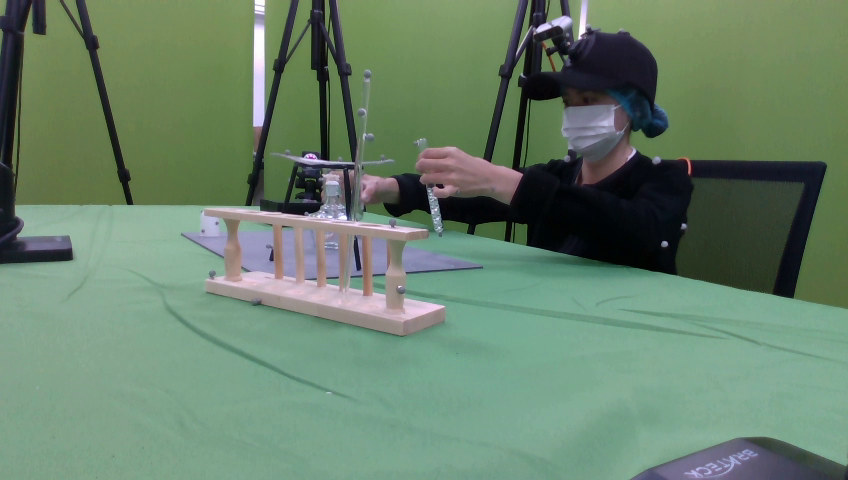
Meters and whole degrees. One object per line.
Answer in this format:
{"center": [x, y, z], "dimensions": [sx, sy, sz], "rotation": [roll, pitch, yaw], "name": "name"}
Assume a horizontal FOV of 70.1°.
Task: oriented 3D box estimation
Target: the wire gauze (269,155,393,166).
{"center": [-0.121, -0.102, 0.785], "dimensions": [0.122, 0.011, 0.124], "rotation": [-3, 10, -39], "name": "wire gauze"}

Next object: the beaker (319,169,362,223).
{"center": [-0.147, -0.082, 1.085], "dimensions": [0.074, 0.100, 0.083], "rotation": [-4, 10, -19], "name": "beaker"}

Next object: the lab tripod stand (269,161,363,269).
{"center": [-0.125, -0.036, 0.794], "dimensions": [0.148, 0.131, 0.148], "rotation": [5, 7, 0], "name": "lab tripod stand"}

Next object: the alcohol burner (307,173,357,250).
{"center": [-0.144, -0.045, 0.940], "dimensions": [0.078, 0.119, 0.078], "rotation": [1, 8, 0], "name": "alcohol burner"}

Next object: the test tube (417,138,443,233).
{"center": [0.010, -0.085, 0.946], "dimensions": [0.017, 0.150, 0.017], "rotation": [-11, 1, 0], "name": "test tube"}

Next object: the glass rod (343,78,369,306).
{"center": [-0.059, -0.038, 0.522], "dimensions": [0.008, 0.199, 0.008], "rotation": [6, 5, 0], "name": "glass rod"}

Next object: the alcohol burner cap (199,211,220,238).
{"center": [-0.356, -0.027, 1.002], "dimensions": [0.034, 0.048, 0.034], "rotation": [2, 7, 0], "name": "alcohol burner cap"}

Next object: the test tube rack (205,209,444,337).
{"center": [-0.100, 0.021, 0.565], "dimensions": [0.241, 0.085, 0.067], "rotation": [7, 8, 32], "name": "test tube rack"}
